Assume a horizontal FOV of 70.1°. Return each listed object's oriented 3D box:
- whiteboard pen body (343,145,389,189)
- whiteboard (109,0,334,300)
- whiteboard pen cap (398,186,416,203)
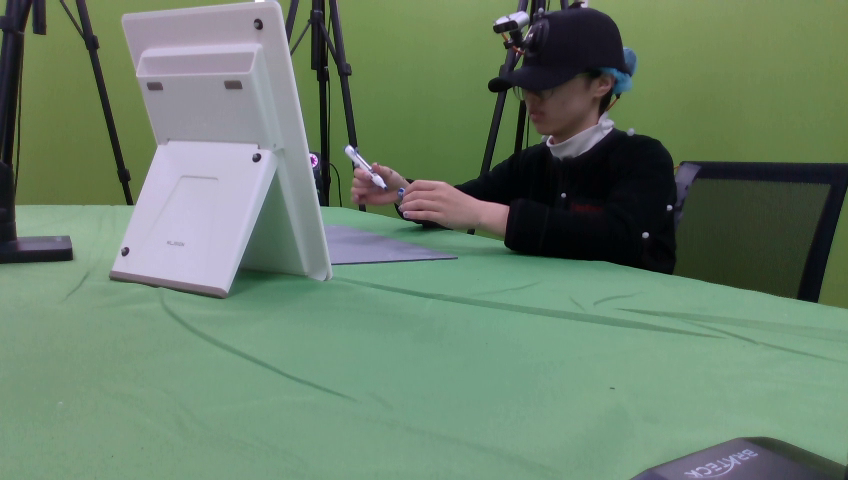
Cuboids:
[{"bbox_3d":[-0.102,-0.129,1.075,0.017,0.017,0.140,-5,39,-44],"label":"whiteboard pen body"},{"bbox_3d":[-0.247,-0.072,0.624,0.216,0.305,0.144,6,28,26],"label":"whiteboard"},{"bbox_3d":[-0.029,-0.076,1.014,0.033,0.018,0.018,35,25,31],"label":"whiteboard pen cap"}]
